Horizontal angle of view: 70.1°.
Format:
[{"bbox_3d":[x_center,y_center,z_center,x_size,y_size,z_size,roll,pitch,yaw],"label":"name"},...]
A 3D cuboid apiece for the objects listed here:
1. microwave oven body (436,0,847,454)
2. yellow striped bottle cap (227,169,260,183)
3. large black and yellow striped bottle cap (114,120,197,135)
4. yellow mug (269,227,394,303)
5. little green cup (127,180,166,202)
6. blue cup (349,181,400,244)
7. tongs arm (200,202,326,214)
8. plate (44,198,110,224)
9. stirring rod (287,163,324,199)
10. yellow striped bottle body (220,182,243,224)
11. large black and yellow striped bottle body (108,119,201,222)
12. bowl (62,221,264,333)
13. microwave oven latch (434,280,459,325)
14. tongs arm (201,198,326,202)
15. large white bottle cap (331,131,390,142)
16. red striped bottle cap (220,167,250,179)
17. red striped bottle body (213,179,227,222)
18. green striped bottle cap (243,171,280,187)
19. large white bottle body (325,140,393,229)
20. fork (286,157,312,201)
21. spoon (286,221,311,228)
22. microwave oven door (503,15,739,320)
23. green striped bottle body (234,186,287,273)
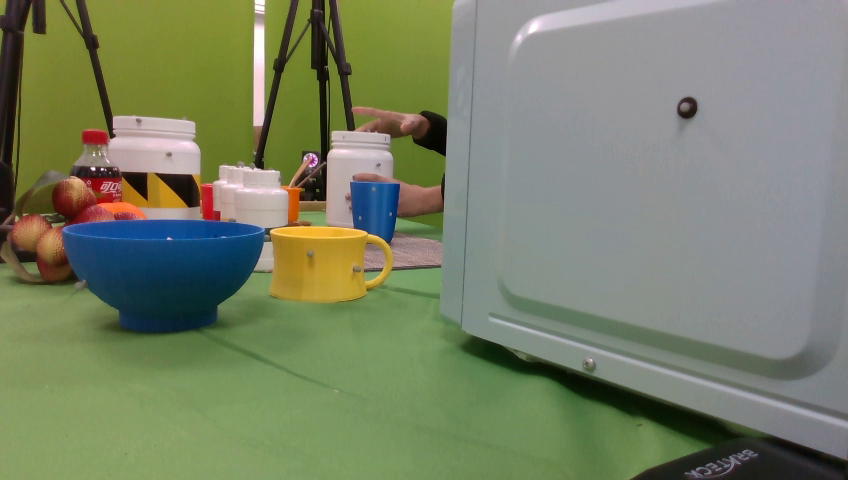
[{"bbox_3d":[0.279,-0.040,0.465,0.444,0.260,0.324,-3,9,-41],"label":"microwave oven body"},{"bbox_3d":[-0.243,-0.086,0.818,0.044,0.018,0.044,3,6,0],"label":"yellow striped bottle cap"},{"bbox_3d":[-0.407,-0.171,0.920,0.115,0.019,0.115,2,9,0],"label":"large black and yellow striped bottle cap"},{"bbox_3d":[-0.094,0.023,0.629,0.131,0.064,0.099,0,7,-22],"label":"yellow mug"},{"bbox_3d":[-0.485,-0.086,1.061,0.061,0.038,0.061,1,7,0],"label":"little green cup"},{"bbox_3d":[-0.083,-0.047,1.012,0.093,0.100,0.092,2,6,0],"label":"blue cup"},{"bbox_3d":[-0.378,-0.079,1.440,0.387,0.026,0.050,-4,8,-44],"label":"tongs arm"},{"bbox_3d":[-0.617,-0.056,1.179,0.209,0.038,0.209,3,7,0],"label":"plate"},{"bbox_3d":[-0.278,-0.105,1.294,0.176,0.006,0.014,-47,25,-18],"label":"stirring rod"},{"bbox_3d":[-0.246,-0.036,0.825,0.063,0.120,0.063,3,8,0],"label":"yellow striped bottle body"},{"bbox_3d":[-0.412,-0.088,0.930,0.131,0.184,0.130,3,7,0],"label":"large black and yellow striped bottle body"},{"bbox_3d":[-0.209,0.029,0.496,0.151,0.077,0.151,2,7,0],"label":"bowl"},{"bbox_3d":[0.044,0.045,0.470,0.079,0.029,0.030,-2,8,-39],"label":"microwave oven latch"},{"bbox_3d":[-0.433,-0.090,1.508,0.390,0.028,0.028,-1,2,-29],"label":"tongs arm"},{"bbox_3d":[-0.124,-0.200,1.177,0.115,0.018,0.115,3,8,0],"label":"large white bottle cap"},{"bbox_3d":[-0.281,-0.099,0.901,0.044,0.017,0.044,-1,5,0],"label":"red striped bottle cap"},{"bbox_3d":[-0.284,-0.048,0.909,0.063,0.119,0.063,3,11,0],"label":"red striped bottle body"},{"bbox_3d":[-0.198,-0.074,0.736,0.044,0.020,0.044,1,7,0],"label":"green striped bottle cap"},{"bbox_3d":[-0.127,-0.114,1.189,0.131,0.184,0.130,2,8,0],"label":"large white bottle body"},{"bbox_3d":[-0.289,-0.116,1.321,0.028,0.019,0.207,6,51,19],"label":"fork"},{"bbox_3d":[-0.232,-0.027,1.116,0.041,0.021,0.193,-22,6,4],"label":"spoon"},{"bbox_3d":[0.218,-0.065,0.600,0.358,0.243,0.039,-4,10,-41],"label":"microwave oven door"},{"bbox_3d":[-0.200,-0.023,0.743,0.063,0.119,0.063,2,7,0],"label":"green striped bottle body"}]
